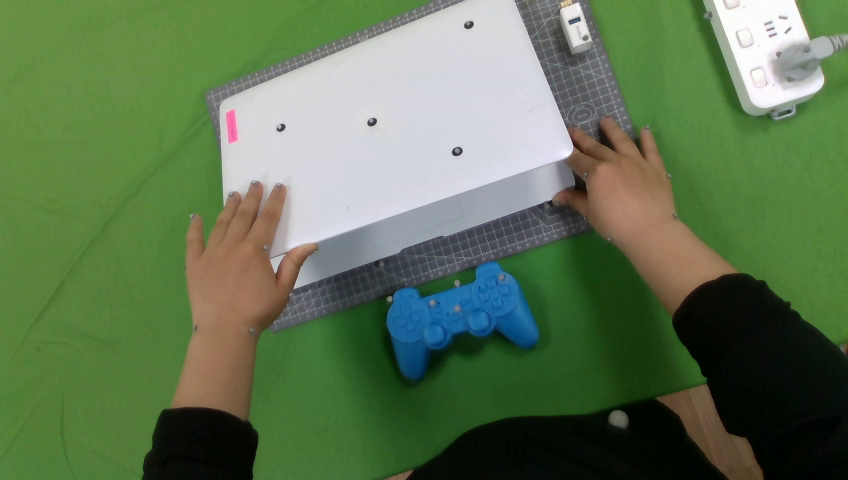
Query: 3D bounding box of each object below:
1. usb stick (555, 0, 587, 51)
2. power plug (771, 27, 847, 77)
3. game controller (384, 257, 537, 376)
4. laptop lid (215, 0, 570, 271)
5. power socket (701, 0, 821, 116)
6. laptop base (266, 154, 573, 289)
[{"bbox_3d":[0.153,-0.233,0.639,0.021,0.027,0.059,-18,83,12],"label":"usb stick"},{"bbox_3d":[0.369,-0.175,0.573,0.072,0.053,0.035,-6,84,6],"label":"power plug"},{"bbox_3d":[0.032,0.079,0.635,0.155,0.052,0.096,-18,78,9],"label":"game controller"},{"bbox_3d":[-0.054,-0.121,0.620,0.356,0.013,0.239,-18,61,10],"label":"laptop lid"},{"bbox_3d":[0.323,-0.235,0.606,0.072,0.033,0.226,-17,83,10],"label":"power socket"},{"bbox_3d":[-0.040,-0.109,0.674,0.354,0.023,0.235,-19,86,9],"label":"laptop base"}]
